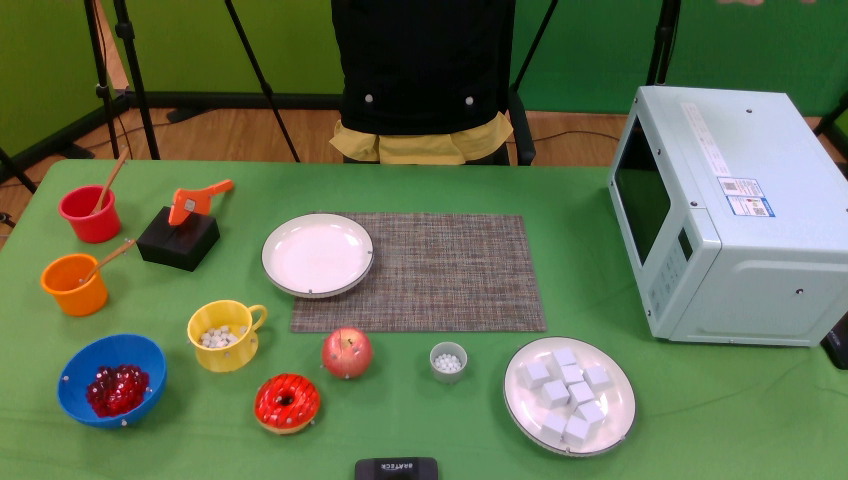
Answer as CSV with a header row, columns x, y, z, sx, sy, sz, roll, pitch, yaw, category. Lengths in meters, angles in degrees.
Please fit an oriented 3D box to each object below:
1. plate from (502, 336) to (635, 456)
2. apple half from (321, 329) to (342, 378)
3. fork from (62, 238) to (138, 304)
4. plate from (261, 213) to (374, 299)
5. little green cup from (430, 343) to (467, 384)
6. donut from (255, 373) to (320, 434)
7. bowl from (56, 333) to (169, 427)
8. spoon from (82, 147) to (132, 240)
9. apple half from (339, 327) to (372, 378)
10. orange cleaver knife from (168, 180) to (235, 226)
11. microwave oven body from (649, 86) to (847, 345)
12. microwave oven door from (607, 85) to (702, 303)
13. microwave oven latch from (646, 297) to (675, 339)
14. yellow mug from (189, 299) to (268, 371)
x,y,z,sx,sy,sz,roll,pitch,yaw,category
0.225,0.248,0.963,0.208,0.039,0.206,2,46,-2,plate
-0.149,0.186,0.972,0.033,0.081,0.080,-2,46,-12,apple half
-0.547,0.053,1.018,0.207,0.019,0.028,-36,41,23,fork
-0.198,0.032,1.137,0.209,0.038,0.208,2,46,-2,plate
0.039,0.203,0.994,0.061,0.039,0.061,2,46,-2,little green cup
-0.209,0.249,0.928,0.099,0.048,0.098,3,43,-3,donut
-0.456,0.223,0.912,0.151,0.077,0.150,3,46,-2,bowl
-0.602,-0.089,1.156,0.041,0.022,0.193,27,95,19,spoon
-0.111,0.182,0.980,0.053,0.075,0.080,-2,42,-12,apple half
-0.436,-0.076,1.199,0.012,0.077,0.211,19,18,8,orange cleaver knife
0.567,-0.053,1.118,0.326,0.261,0.439,2,45,-1,microwave oven body
0.423,-0.094,1.140,0.039,0.245,0.353,2,46,-1,microwave oven door
0.412,0.134,1.061,0.030,0.029,0.078,4,45,1,microwave oven latch
-0.316,0.148,1.002,0.131,0.064,0.099,-33,56,-31,yellow mug
